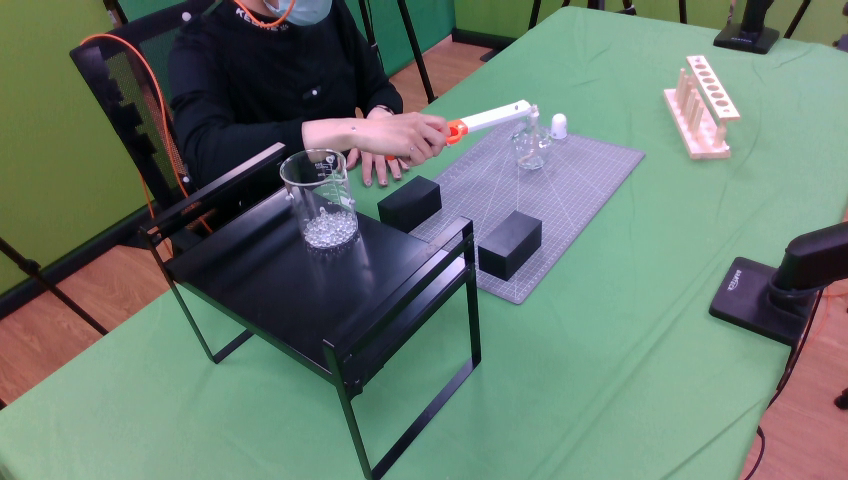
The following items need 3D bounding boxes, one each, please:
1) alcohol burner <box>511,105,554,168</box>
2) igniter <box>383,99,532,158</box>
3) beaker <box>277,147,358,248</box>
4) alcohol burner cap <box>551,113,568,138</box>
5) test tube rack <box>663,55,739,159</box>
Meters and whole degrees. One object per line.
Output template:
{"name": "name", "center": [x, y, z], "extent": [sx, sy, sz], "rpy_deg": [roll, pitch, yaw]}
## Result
{"name": "alcohol burner", "center": [0.196, -0.190, 1.088], "extent": [0.078, 0.119, 0.077], "rpy_deg": [-3, 42, 3]}
{"name": "igniter", "center": [0.056, -0.182, 0.981], "extent": [0.278, 0.025, 0.057], "rpy_deg": [-21, 47, -22]}
{"name": "beaker", "center": [-0.117, -0.046, 0.705], "extent": [0.083, 0.101, 0.074], "rpy_deg": [17, 47, 25]}
{"name": "alcohol burner cap", "center": [0.263, -0.223, 1.172], "extent": [0.034, 0.048, 0.033], "rpy_deg": [-5, 39, 4]}
{"name": "test tube rack", "center": [0.518, -0.256, 1.144], "extent": [0.066, 0.085, 0.241], "rpy_deg": [-1, 41, 8]}
